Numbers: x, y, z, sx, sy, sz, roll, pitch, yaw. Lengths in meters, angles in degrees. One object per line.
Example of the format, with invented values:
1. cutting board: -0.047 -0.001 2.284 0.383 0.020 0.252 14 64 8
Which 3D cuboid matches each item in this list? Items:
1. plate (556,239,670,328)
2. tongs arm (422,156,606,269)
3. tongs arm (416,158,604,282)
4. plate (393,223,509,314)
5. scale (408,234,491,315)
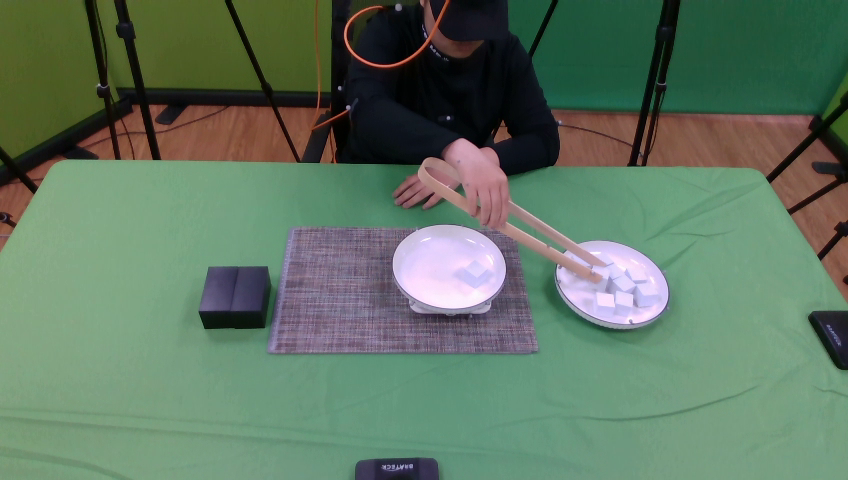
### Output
1. plate: 0.347 0.083 1.130 0.209 0.038 0.208 2 46 -2
2. tongs arm: 0.163 -0.048 1.102 0.388 0.028 0.028 31 51 -4
3. tongs arm: 0.155 -0.033 1.086 0.385 0.026 0.050 27 47 -7
4. plate: 0.048 0.053 1.091 0.208 0.039 0.206 1 46 -1
5. scale: 0.045 0.055 1.135 0.149 0.032 0.199 1 46 -3
